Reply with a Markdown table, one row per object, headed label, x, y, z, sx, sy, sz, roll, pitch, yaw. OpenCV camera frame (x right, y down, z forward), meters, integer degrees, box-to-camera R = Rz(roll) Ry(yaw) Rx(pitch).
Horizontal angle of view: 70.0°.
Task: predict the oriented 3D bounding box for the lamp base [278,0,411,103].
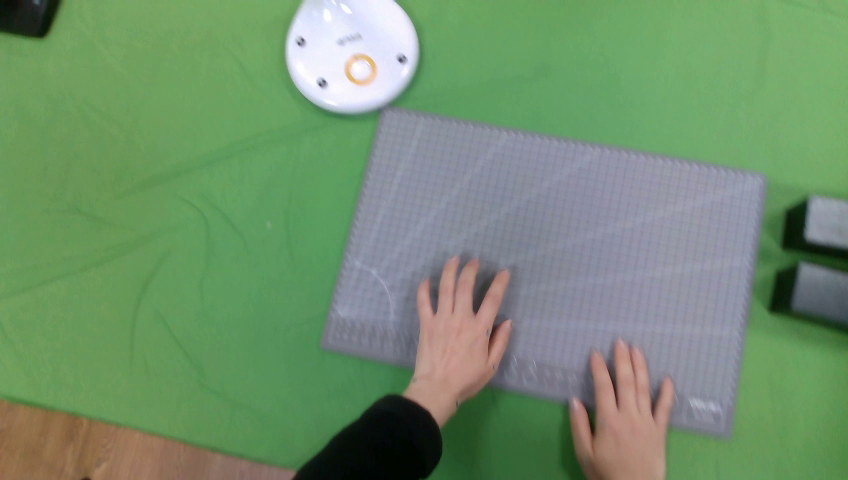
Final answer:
| label | x | y | z | sx | sy | sz | roll | pitch | yaw |
| --- | --- | --- | --- | --- | --- | --- | --- | --- | --- |
| lamp base | -0.107 | -0.266 | 0.659 | 0.160 | 0.181 | 0.178 | -30 | 76 | -3 |
